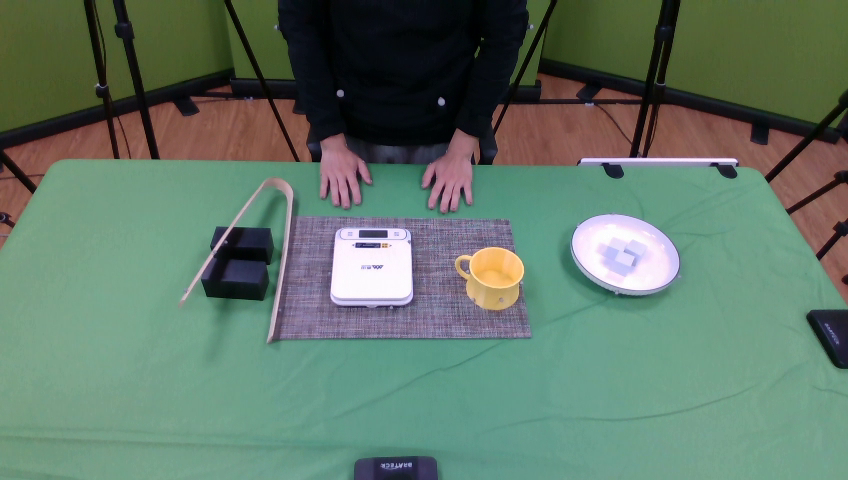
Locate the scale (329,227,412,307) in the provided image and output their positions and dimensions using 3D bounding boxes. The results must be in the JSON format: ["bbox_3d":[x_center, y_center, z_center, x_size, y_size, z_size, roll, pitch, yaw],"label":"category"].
[{"bbox_3d":[-0.099,0.042,1.139,0.149,0.032,0.199,1,46,-4],"label":"scale"}]

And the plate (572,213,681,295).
[{"bbox_3d":[0.392,0.030,1.189,0.208,0.039,0.206,2,46,-2],"label":"plate"}]

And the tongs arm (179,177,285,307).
[{"bbox_3d":[-0.342,-0.008,1.118,0.051,0.026,0.382,29,38,-14],"label":"tongs arm"}]

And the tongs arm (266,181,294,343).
[{"bbox_3d":[-0.273,0.027,1.144,0.028,0.028,0.385,17,42,-22],"label":"tongs arm"}]

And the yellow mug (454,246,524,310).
[{"bbox_3d":[0.115,0.064,1.111,0.130,0.064,0.099,21,49,17],"label":"yellow mug"}]
